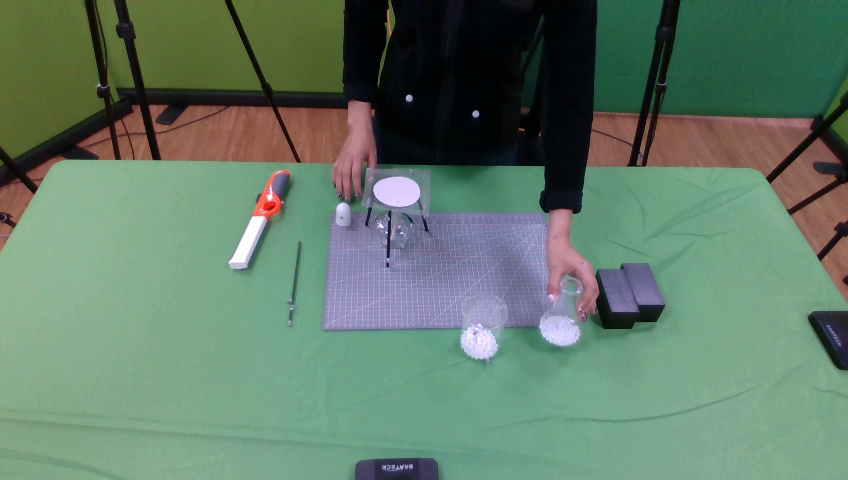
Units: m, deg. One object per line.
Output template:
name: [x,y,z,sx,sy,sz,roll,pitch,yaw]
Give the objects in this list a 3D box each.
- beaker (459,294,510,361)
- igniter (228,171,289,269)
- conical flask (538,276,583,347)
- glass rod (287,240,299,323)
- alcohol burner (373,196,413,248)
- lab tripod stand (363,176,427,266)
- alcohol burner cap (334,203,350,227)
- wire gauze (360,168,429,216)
beaker: [0.095,0.147,1.012,0.083,0.101,0.074,26,49,21]
igniter: [-0.328,-0.049,1.218,0.057,0.025,0.275,1,45,11]
conical flask: [0.233,0.114,1.003,0.075,0.122,0.075,1,42,0]
glass rod: [-0.242,0.072,1.119,0.008,0.008,0.198,-1,47,-5]
alcohol burner: [-0.059,-0.041,1.167,0.078,0.119,0.077,4,46,-4]
lab tripod stand: [-0.058,-0.047,1.159,0.148,0.132,0.147,3,44,-2]
alcohol burner cap: [-0.166,-0.053,1.221,0.034,0.048,0.033,3,45,-2]
wire gauze: [-0.052,-0.093,1.111,0.125,0.011,0.120,5,44,-1]
